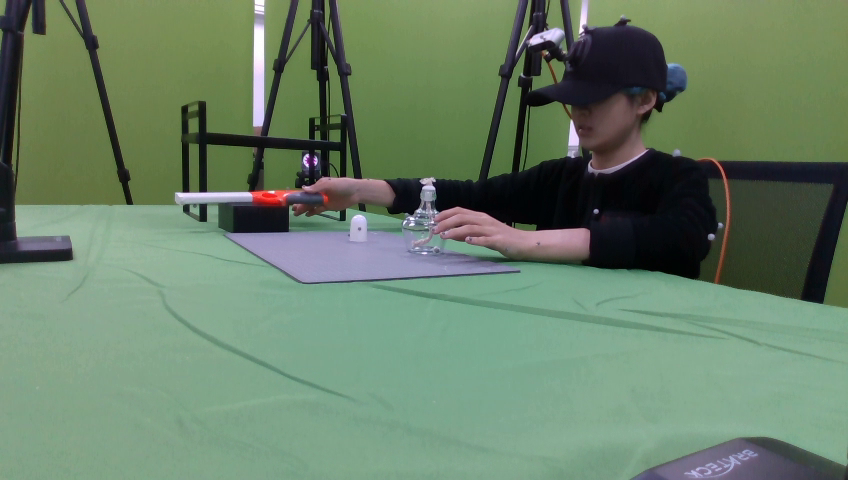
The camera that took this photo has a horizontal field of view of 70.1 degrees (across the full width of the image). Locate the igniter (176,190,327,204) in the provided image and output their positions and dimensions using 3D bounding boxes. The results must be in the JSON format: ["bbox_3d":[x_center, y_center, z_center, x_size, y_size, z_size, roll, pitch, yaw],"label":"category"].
[{"bbox_3d":[-0.316,-0.080,1.136,0.278,0.025,0.057,-3,19,-33],"label":"igniter"}]

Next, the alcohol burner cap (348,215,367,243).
[{"bbox_3d":[-0.112,-0.019,1.025,0.034,0.048,0.034,2,6,0],"label":"alcohol burner cap"}]

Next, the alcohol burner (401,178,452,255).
[{"bbox_3d":[0.005,-0.036,0.923,0.078,0.119,0.078,5,7,0],"label":"alcohol burner"}]
